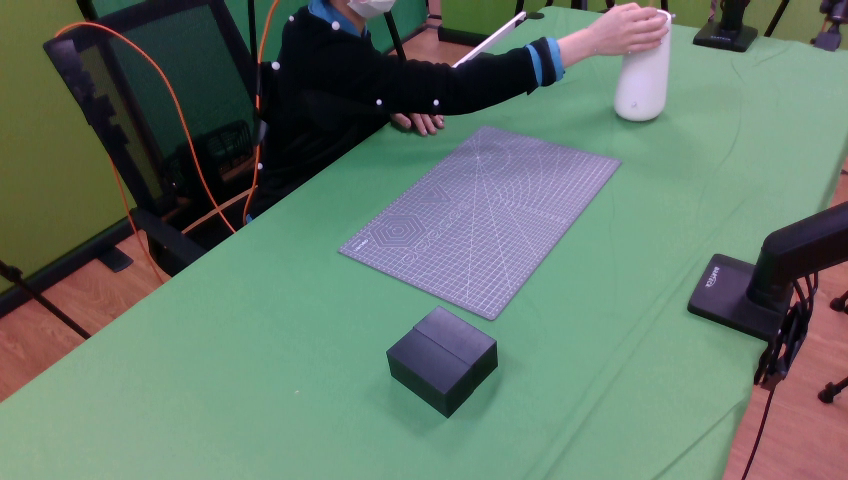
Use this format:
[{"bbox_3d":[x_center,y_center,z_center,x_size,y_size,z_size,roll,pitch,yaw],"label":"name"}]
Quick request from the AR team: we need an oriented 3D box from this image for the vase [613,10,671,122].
[{"bbox_3d":[0.419,-0.326,1.151,0.098,0.201,0.097,-4,42,4],"label":"vase"}]

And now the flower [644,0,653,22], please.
[{"bbox_3d":[0.395,-0.385,1.086,0.044,0.363,0.038,-20,44,-23],"label":"flower"}]
